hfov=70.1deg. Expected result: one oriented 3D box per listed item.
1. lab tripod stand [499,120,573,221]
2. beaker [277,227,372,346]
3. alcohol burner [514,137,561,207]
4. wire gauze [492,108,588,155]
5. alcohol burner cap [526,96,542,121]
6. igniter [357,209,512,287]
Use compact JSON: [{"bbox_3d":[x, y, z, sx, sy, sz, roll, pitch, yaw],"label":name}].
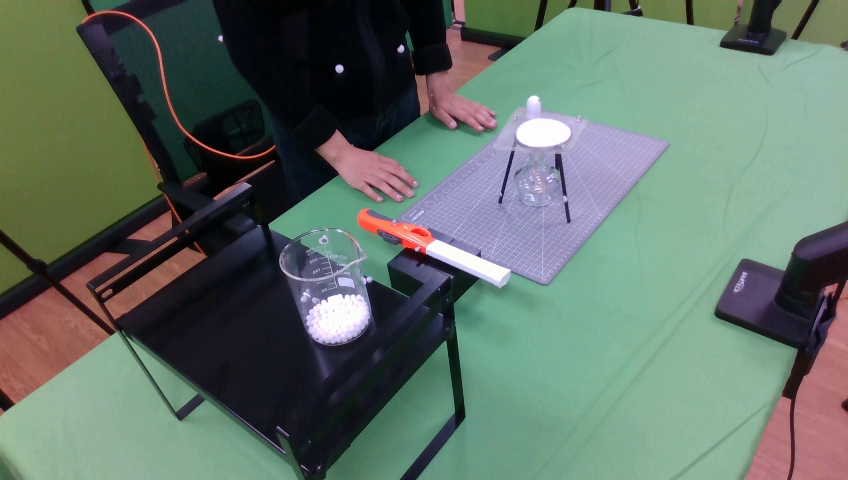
[{"bbox_3d":[0.198,-0.116,0.992,0.148,0.132,0.147,-3,41,3],"label":"lab tripod stand"},{"bbox_3d":[-0.090,0.048,0.593,0.084,0.101,0.073,-3,41,5],"label":"beaker"},{"bbox_3d":[0.189,-0.116,1.008,0.078,0.119,0.077,-6,39,5],"label":"alcohol burner"},{"bbox_3d":[0.185,-0.170,0.953,0.121,0.011,0.125,13,44,22],"label":"wire gauze"},{"bbox_3d":[0.225,-0.272,1.243,0.034,0.048,0.033,-5,41,5],"label":"alcohol burner cap"},{"bbox_3d":[0.004,0.006,0.891,0.274,0.025,0.057,23,38,30],"label":"igniter"}]
